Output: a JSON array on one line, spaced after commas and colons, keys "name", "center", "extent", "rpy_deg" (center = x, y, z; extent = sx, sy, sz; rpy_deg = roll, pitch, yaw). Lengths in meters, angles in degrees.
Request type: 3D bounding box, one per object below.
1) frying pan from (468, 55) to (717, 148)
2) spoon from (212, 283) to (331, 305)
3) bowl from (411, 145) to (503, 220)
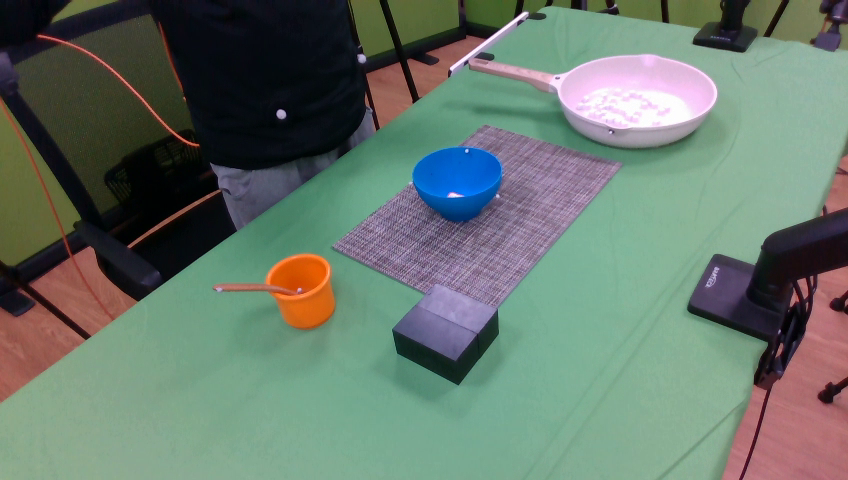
[{"name": "frying pan", "center": [0.316, -0.304, 1.213], "extent": [0.485, 0.103, 0.307], "rpy_deg": [20, 46, 17]}, {"name": "spoon", "center": [-0.201, 0.069, 0.819], "extent": [0.041, 0.195, 0.021], "rpy_deg": [33, 99, 37]}, {"name": "bowl", "center": [0.057, -0.086, 1.010], "extent": [0.151, 0.077, 0.150], "rpy_deg": [-4, 41, 4]}]
